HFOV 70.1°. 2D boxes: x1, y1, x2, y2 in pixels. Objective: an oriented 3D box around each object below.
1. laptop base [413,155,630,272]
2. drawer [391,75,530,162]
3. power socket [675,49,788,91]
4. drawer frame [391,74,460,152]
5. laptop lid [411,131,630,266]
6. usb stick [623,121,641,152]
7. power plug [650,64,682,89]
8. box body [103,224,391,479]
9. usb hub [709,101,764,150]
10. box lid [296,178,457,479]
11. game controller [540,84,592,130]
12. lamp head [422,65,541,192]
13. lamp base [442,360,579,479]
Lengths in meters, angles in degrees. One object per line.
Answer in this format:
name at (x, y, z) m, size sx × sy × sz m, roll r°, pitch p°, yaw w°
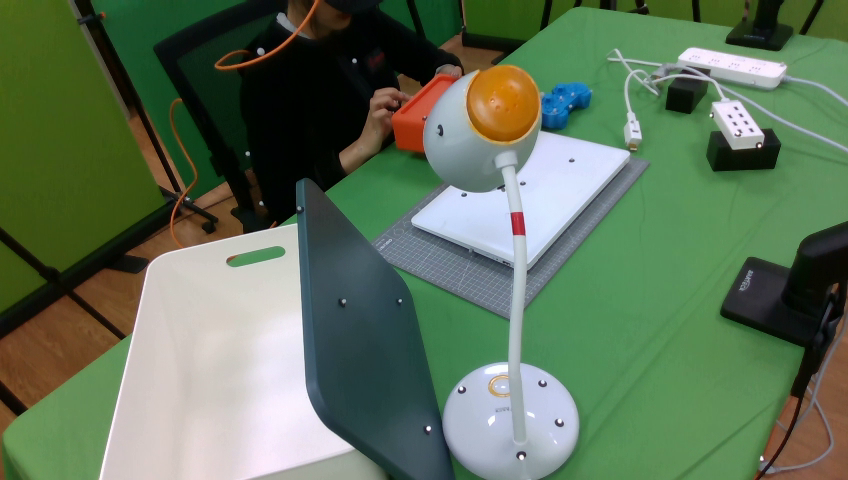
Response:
laptop base at (0.176, -0.085, 1.056) m, size 0.233 × 0.023 × 0.355 m, roll 21°, pitch 49°, yaw 35°
drawer at (0.076, -0.241, 1.179) m, size 0.210 × 0.073 × 0.195 m, roll 14°, pitch 43°, yaw 26°
power socket at (0.647, -0.363, 1.284) m, size 0.225 × 0.033 × 0.072 m, roll 26°, pitch 53°, yaw 35°
drawer frame at (0.079, -0.241, 1.179) m, size 0.212 × 0.083 × 0.202 m, roll 14°, pitch 43°, yaw 26°
laptop lid at (0.172, -0.094, 1.050) m, size 0.239 × 0.013 × 0.358 m, roll 23°, pitch 49°, yaw 36°
usb stick at (0.389, -0.192, 1.128) m, size 0.021 × 0.027 × 0.059 m, roll 8°, pitch 62°, yaw -9°
power plug at (0.498, -0.341, 1.263) m, size 0.035 × 0.052 × 0.072 m, roll 20°, pitch 10°, yaw -7°
box body at (-0.190, 0.161, 0.723) m, size 0.255 × 0.161 × 0.361 m, roll -13°, pitch 40°, yaw -5°
usb hub at (0.534, -0.199, 1.040) m, size 0.049 × 0.025 × 0.124 m, roll -5°, pitch 39°, yaw 8°
box lid at (-0.060, 0.103, 0.702) m, size 0.015 × 0.265 × 0.369 m, roll -30°, pitch 39°, yaw 11°
game controller at (0.277, -0.282, 1.251) m, size 0.096 × 0.052 × 0.155 m, roll 27°, pitch 52°, yaw 30°
lamp head at (0.060, -0.106, 0.560) m, size 0.113 × 0.112 × 0.122 m, roll -17°, pitch 0°, yaw -8°
lamp base at (0.094, 0.158, 0.657) m, size 0.161 × 0.181 × 0.178 m, roll -13°, pitch 42°, yaw -5°
